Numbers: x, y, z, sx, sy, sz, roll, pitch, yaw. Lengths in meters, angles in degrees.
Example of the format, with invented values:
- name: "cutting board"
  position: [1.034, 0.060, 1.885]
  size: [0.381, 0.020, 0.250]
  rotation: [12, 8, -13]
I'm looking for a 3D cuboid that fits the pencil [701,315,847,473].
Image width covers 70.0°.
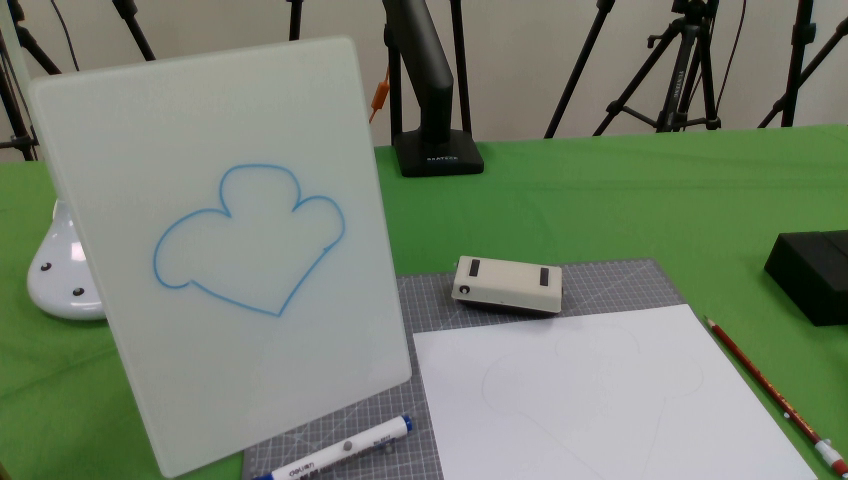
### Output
- name: "pencil"
  position: [0.317, 0.132, 0.563]
  size: [0.012, 0.012, 0.192]
  rotation: [-8, 36, -13]

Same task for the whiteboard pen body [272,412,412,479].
- name: "whiteboard pen body"
  position: [-0.074, 0.168, 0.474]
  size: [0.141, 0.017, 0.017]
  rotation: [-17, 40, -23]

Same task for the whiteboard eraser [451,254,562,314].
- name: "whiteboard eraser"
  position: [0.087, 0.047, 0.634]
  size: [0.112, 0.042, 0.055]
  rotation: [7, 37, 7]

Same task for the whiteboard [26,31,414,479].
- name: "whiteboard"
  position: [-0.155, 0.000, 0.516]
  size: [0.218, 0.307, 0.142]
  rotation: [-17, 21, -23]

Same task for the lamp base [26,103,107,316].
- name: "lamp base"
  position: [-0.346, -0.040, 0.615]
  size: [0.178, 0.182, 0.160]
  rotation: [20, 40, 27]

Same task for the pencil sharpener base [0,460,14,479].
- name: "pencil sharpener base"
  position: [-0.308, 0.174, 0.387]
  size: [0.061, 0.108, 0.076]
  rotation: [28, 44, 30]

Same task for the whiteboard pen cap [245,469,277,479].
- name: "whiteboard pen cap"
  position: [-0.125, 0.184, 0.451]
  size: [0.033, 0.018, 0.018]
  rotation: [-18, 41, -24]
